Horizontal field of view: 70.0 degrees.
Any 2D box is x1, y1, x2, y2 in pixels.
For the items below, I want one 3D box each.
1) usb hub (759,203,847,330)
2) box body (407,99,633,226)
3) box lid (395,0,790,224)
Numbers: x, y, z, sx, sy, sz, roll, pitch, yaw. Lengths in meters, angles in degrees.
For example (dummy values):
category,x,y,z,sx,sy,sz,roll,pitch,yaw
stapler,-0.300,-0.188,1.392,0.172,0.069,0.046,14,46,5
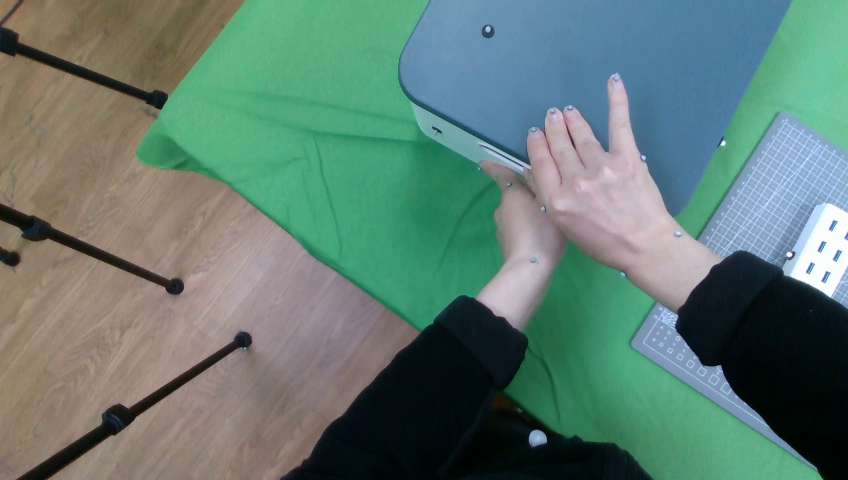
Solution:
category,x,y,z,sx,sy,sz,roll,pitch,yaw
usb hub,0.401,0.027,0.626,0.049,0.025,0.125,30,88,2
box body,0.167,-0.219,0.573,0.254,0.160,0.363,28,87,1
box lid,0.166,-0.222,0.500,0.263,0.015,0.371,28,87,1
